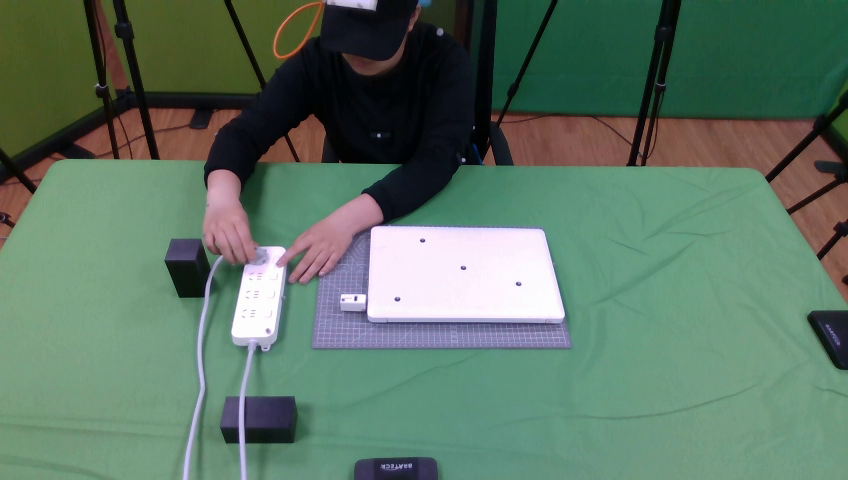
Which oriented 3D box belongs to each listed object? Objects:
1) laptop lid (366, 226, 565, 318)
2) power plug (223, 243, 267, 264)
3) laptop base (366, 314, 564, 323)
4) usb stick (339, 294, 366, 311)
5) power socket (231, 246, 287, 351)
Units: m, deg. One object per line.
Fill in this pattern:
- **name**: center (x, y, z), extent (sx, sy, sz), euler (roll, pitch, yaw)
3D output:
- **laptop lid**: center (0.072, 0.054, 1.137), extent (0.357, 0.013, 0.240), euler (2, 44, -3)
- **power plug**: center (-0.324, 0.026, 1.112), extent (0.072, 0.053, 0.035), euler (8, 46, 5)
- **laptop base**: center (0.071, 0.064, 1.144), extent (0.355, 0.023, 0.234), euler (1, 42, -4)
- **usb stick**: center (-0.119, 0.111, 1.068), extent (0.059, 0.027, 0.021), euler (4, 47, -5)
- **power socket**: center (-0.290, 0.095, 1.077), extent (0.072, 0.033, 0.225), euler (-1, 46, -3)
